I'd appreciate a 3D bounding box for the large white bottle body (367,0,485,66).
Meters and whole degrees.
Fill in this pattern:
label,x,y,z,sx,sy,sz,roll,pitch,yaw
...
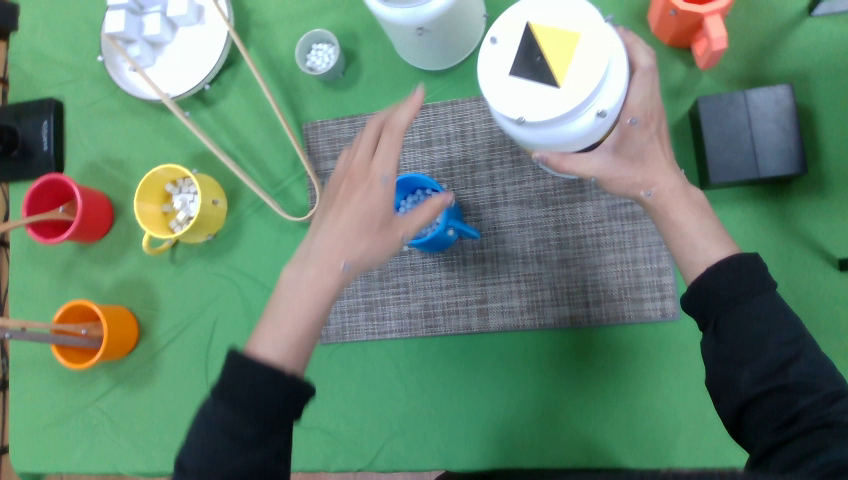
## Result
label,x,y,z,sx,sy,sz,roll,pitch,yaw
large white bottle body,-0.001,-0.299,0.714,0.130,0.185,0.130,-1,84,12

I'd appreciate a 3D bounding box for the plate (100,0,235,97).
label,x,y,z,sx,sy,sz,roll,pitch,yaw
plate,-0.361,-0.303,0.865,0.207,0.039,0.207,-1,86,12

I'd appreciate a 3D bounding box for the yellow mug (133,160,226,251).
label,x,y,z,sx,sy,sz,roll,pitch,yaw
yellow mug,-0.340,-0.040,0.825,0.099,0.064,0.131,34,94,12

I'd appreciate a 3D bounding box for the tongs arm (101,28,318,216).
label,x,y,z,sx,sy,sz,roll,pitch,yaw
tongs arm,-0.292,-0.165,0.819,0.051,0.026,0.384,-43,86,1

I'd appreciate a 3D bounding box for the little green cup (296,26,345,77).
label,x,y,z,sx,sy,sz,roll,pitch,yaw
little green cup,-0.137,-0.251,0.813,0.061,0.039,0.061,-1,86,12

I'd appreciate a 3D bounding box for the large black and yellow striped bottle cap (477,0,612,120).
label,x,y,z,sx,sy,sz,roll,pitch,yaw
large black and yellow striped bottle cap,0.102,-0.162,0.522,0.114,0.019,0.114,-3,82,23

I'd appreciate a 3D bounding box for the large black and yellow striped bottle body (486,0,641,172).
label,x,y,z,sx,sy,sz,roll,pitch,yaw
large black and yellow striped bottle body,0.138,-0.149,0.597,0.130,0.185,0.130,-4,81,24

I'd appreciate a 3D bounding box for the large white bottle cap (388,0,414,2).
label,x,y,z,sx,sy,sz,roll,pitch,yaw
large white bottle cap,-0.019,-0.307,0.632,0.114,0.018,0.114,-1,85,12

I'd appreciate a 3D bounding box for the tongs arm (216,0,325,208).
label,x,y,z,sx,sy,sz,roll,pitch,yaw
tongs arm,-0.226,-0.218,0.814,0.028,0.028,0.387,-29,87,-1

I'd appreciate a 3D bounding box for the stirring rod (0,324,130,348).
label,x,y,z,sx,sy,sz,roll,pitch,yaw
stirring rod,-0.486,0.127,0.801,0.006,0.177,0.014,-23,59,52

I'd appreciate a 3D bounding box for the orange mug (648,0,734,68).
label,x,y,z,sx,sy,sz,roll,pitch,yaw
orange mug,0.313,-0.265,0.690,0.083,0.101,0.125,-15,78,11

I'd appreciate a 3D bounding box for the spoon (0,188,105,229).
label,x,y,z,sx,sy,sz,roll,pitch,yaw
spoon,-0.538,-0.032,0.826,0.194,0.022,0.041,-22,76,-36

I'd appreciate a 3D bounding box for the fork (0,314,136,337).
label,x,y,z,sx,sy,sz,roll,pitch,yaw
fork,-0.496,0.109,0.802,0.209,0.018,0.028,11,85,-31

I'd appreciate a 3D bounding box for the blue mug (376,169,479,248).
label,x,y,z,sx,sy,sz,roll,pitch,yaw
blue mug,0.012,-0.029,0.727,0.116,0.106,0.082,21,89,13
